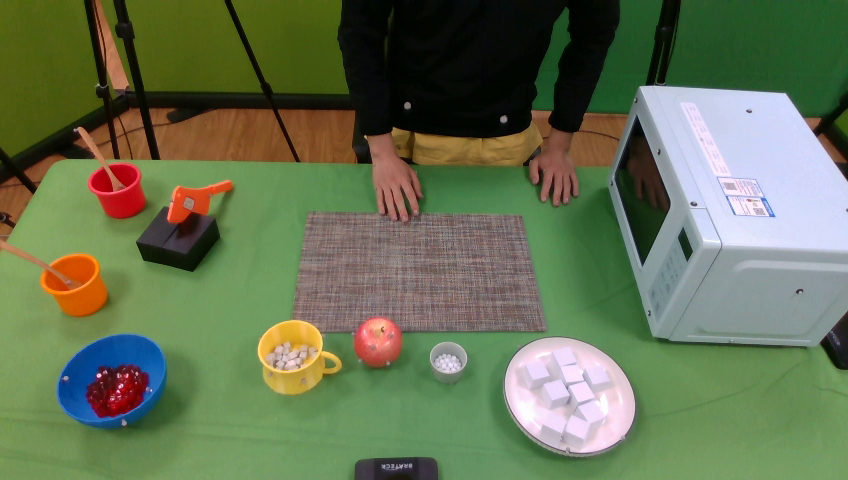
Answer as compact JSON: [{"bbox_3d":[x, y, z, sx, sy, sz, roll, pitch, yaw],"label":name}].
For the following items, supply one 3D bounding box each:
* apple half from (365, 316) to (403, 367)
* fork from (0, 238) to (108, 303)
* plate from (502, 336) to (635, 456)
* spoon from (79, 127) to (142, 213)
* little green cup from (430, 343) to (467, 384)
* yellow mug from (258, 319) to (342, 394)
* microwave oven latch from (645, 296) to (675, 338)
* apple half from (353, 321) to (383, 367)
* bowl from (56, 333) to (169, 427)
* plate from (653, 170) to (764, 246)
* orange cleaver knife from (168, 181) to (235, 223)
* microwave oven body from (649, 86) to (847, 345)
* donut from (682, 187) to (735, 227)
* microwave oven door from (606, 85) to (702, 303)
[{"bbox_3d":[-0.063,0.165,1.000,0.053,0.075,0.080,-16,45,-24],"label":"apple half"},{"bbox_3d":[-0.633,0.048,1.017,0.208,0.018,0.028,40,41,-27],"label":"fork"},{"bbox_3d":[0.225,0.248,0.963,0.208,0.039,0.206,2,46,-2],"label":"plate"},{"bbox_3d":[-0.624,-0.139,1.203,0.041,0.021,0.194,-33,100,-26],"label":"spoon"},{"bbox_3d":[0.039,0.203,0.993,0.061,0.039,0.061,2,46,-2],"label":"little green cup"},{"bbox_3d":[-0.195,0.189,0.972,0.131,0.064,0.099,9,46,4],"label":"yellow mug"},{"bbox_3d":[0.412,0.134,1.061,0.030,0.029,0.078,4,45,0],"label":"microwave oven latch"},{"bbox_3d":[-0.098,0.177,0.984,0.033,0.081,0.081,-17,49,-25],"label":"apple half"},{"bbox_3d":[-0.456,0.223,0.912,0.151,0.077,0.150,3,46,-2],"label":"bowl"},{"bbox_3d":[0.556,-0.059,1.196,0.209,0.038,0.208,2,45,-1],"label":"plate"},{"bbox_3d":[-0.436,-0.078,1.196,0.012,0.077,0.211,16,15,10],"label":"orange cleaver knife"},{"bbox_3d":[0.567,-0.053,1.118,0.326,0.261,0.439,2,45,-1],"label":"microwave oven body"},{"bbox_3d":[0.554,-0.066,1.183,0.099,0.048,0.098,3,44,-3],"label":"donut"},{"bbox_3d":[0.423,-0.094,1.140,0.039,0.245,0.353,2,46,-1],"label":"microwave oven door"}]
